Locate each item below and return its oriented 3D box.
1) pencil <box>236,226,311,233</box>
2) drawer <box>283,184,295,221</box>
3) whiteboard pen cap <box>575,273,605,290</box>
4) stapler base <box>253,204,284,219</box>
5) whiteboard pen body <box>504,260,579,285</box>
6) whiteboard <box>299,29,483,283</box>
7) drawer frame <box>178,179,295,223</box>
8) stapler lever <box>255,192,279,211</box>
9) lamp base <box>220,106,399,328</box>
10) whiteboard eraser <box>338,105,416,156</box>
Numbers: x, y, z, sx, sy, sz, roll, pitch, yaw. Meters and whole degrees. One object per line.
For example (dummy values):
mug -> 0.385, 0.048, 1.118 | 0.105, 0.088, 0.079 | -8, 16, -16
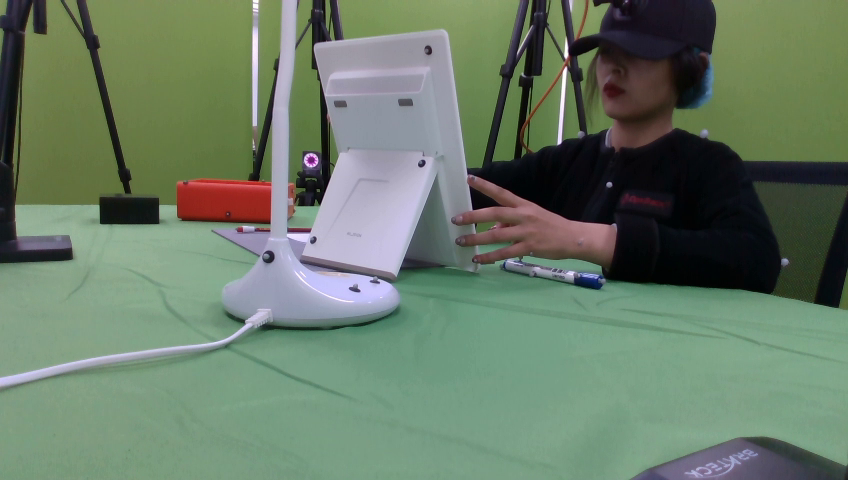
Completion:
pencil -> -0.239, -0.017, 1.093 | 0.195, 0.012, 0.012 | 1, 7, -27
drawer -> -0.394, -0.086, 1.317 | 0.212, 0.073, 0.194 | 1, 8, -7
whiteboard pen cap -> 0.197, 0.048, 0.719 | 0.018, 0.018, 0.033 | -4, 11, -42
stapler base -> -0.337, -0.065, 1.308 | 0.041, 0.024, 0.130 | 1, 9, -1
whiteboard pen body -> 0.157, 0.042, 0.763 | 0.017, 0.017, 0.140 | -4, 10, -41
whiteboard -> -0.075, -0.082, 0.741 | 0.216, 0.305, 0.144 | 9, 29, 38
drawer frame -> -0.397, -0.088, 1.315 | 0.214, 0.082, 0.201 | 1, 8, -7
stapler lever -> -0.337, -0.088, 1.305 | 0.027, 0.040, 0.118 | 1, 11, -1
lamp base -> -0.102, -0.023, 0.531 | 0.160, 0.180, 0.179 | 4, 10, 10
whiteboard eraser -> -0.067, -0.146, 0.820 | 0.112, 0.055, 0.042 | -1, 24, 39
